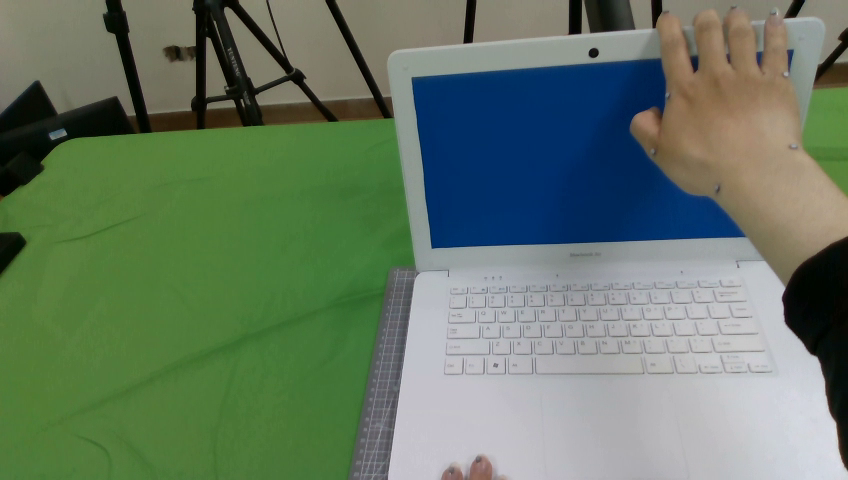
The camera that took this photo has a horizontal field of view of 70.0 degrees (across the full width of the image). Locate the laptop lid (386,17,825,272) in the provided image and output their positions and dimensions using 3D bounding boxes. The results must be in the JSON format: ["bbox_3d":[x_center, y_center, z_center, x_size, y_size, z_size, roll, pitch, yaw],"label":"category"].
[{"bbox_3d":[0.152,-0.068,0.556,0.356,0.244,0.013,-3,33,10],"label":"laptop lid"}]

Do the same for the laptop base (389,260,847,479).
[{"bbox_3d":[0.155,0.112,0.532,0.354,0.023,0.233,-2,46,9],"label":"laptop base"}]
